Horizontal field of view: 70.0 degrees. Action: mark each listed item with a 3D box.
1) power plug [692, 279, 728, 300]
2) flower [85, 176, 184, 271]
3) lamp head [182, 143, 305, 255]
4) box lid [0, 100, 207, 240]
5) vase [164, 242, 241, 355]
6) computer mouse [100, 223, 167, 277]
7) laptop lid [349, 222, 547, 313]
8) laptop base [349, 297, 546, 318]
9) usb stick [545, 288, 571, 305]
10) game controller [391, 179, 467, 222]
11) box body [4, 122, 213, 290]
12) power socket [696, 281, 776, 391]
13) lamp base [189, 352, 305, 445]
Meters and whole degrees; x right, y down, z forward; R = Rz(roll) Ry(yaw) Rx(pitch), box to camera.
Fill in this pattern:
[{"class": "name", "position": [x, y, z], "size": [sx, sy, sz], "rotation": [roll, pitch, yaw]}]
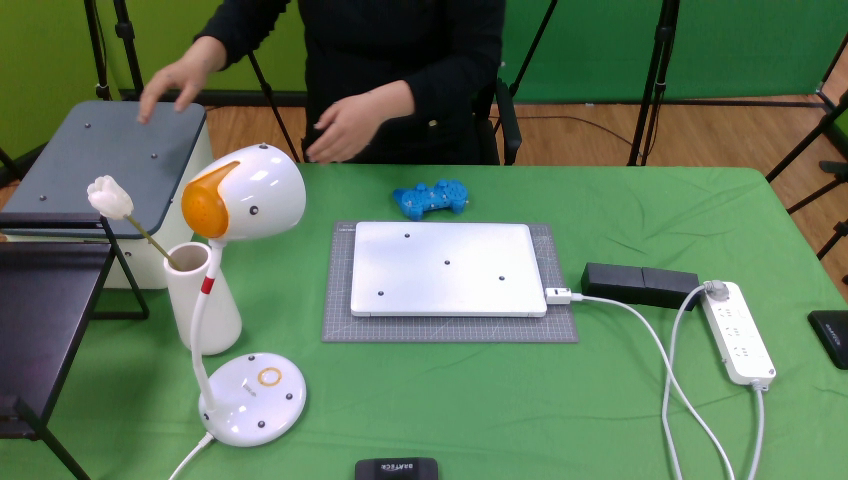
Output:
[{"class": "power plug", "position": [0.522, 0.091, 1.116], "size": [0.072, 0.053, 0.035], "rotation": [10, 47, 8]}, {"class": "flower", "position": [-0.365, 0.038, 0.894], "size": [0.038, 0.364, 0.044], "rotation": [-6, 53, 14]}, {"class": "lamp head", "position": [-0.216, -0.044, 0.697], "size": [0.112, 0.113, 0.123], "rotation": [23, 31, 17]}, {"class": "box lid", "position": [-0.559, -0.137, 1.083], "size": [0.263, 0.015, 0.369], "rotation": [2, 46, -2]}, {"class": "vase", "position": [-0.349, 0.096, 0.954], "size": [0.098, 0.201, 0.097], "rotation": [3, 47, -3]}, {"class": "computer mouse", "position": [-0.539, 0.014, 1.122], "size": [0.062, 0.041, 0.117], "rotation": [30, 57, 18]}, {"class": "laptop lid", "position": [0.041, 0.045, 1.143], "size": [0.357, 0.013, 0.240], "rotation": [2, 44, -3]}, {"class": "laptop base", "position": [0.041, 0.055, 1.149], "size": [0.355, 0.023, 0.234], "rotation": [0, 43, -4]}, {"class": "usb stick", "position": [0.236, 0.102, 1.101], "size": [0.059, 0.027, 0.021], "rotation": [-2, 46, 1]}, {"class": "game controller", "position": [0.016, -0.093, 1.273], "size": [0.155, 0.052, 0.096], "rotation": [-11, 53, -14]}, {"class": "box body", "position": [-0.563, -0.086, 1.138], "size": [0.254, 0.161, 0.361], "rotation": [2, 46, -3]}, {"class": "power socket", "position": [0.550, 0.160, 1.078], "size": [0.072, 0.033, 0.225], "rotation": [2, 46, -1]}, {"class": "lamp base", "position": [-0.268, 0.196, 0.876], "size": [0.160, 0.181, 0.179], "rotation": [26, 52, 20]}]
